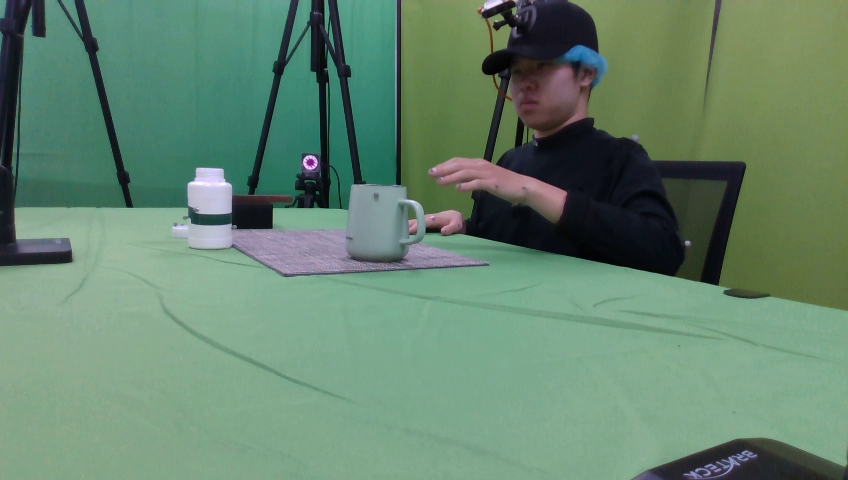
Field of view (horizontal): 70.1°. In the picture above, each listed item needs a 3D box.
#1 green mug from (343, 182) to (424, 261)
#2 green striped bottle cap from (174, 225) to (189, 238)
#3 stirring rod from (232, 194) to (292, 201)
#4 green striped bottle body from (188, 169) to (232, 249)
[{"bbox_3d":[-0.053,-0.026,0.849,0.125,0.105,0.093,7,8,33],"label":"green mug"},{"bbox_3d":[-0.404,-0.015,1.036,0.044,0.020,0.044,-2,8,1],"label":"green striped bottle cap"},{"bbox_3d":[-0.353,-0.085,1.216,0.177,0.014,0.006,-1,13,-27],"label":"stirring rod"},{"bbox_3d":[-0.324,-0.049,0.919,0.063,0.119,0.063,2,8,0],"label":"green striped bottle body"}]
